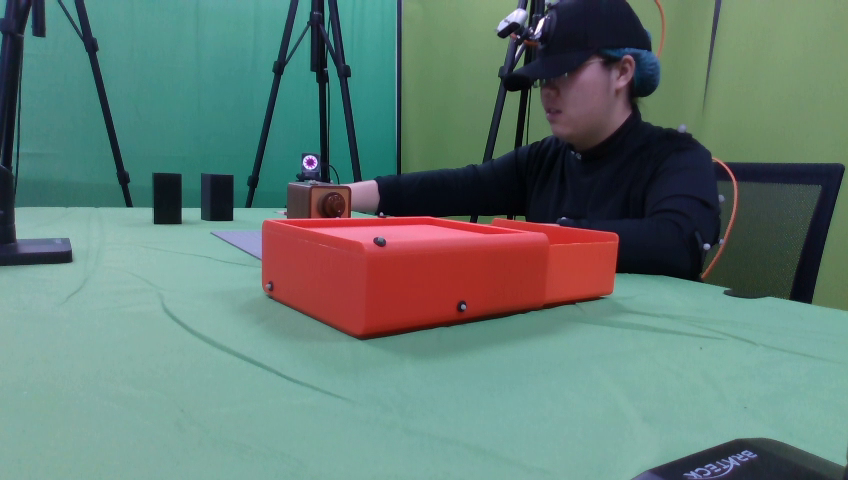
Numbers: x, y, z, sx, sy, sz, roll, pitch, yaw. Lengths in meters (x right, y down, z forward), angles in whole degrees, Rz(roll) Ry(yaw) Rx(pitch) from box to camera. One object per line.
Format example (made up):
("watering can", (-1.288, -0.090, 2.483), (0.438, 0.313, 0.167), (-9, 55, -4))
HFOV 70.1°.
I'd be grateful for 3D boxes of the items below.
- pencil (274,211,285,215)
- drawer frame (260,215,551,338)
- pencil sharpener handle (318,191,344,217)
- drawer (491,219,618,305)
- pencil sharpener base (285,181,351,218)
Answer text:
("pencil", (-0.193, -0.042, 1.167), (0.195, 0.012, 0.012), (7, 4, -26))
("drawer frame", (-0.021, 0.023, 0.595), (0.215, 0.082, 0.200), (-4, 10, -38))
("pencil sharpener handle", (-0.107, -0.026, 0.748), (0.036, 0.067, 0.030), (-6, 11, -36))
("drawer", (0.071, 0.021, 0.670), (0.213, 0.073, 0.193), (-3, 10, -39))
("pencil sharpener base", (-0.139, -0.021, 0.789), (0.062, 0.107, 0.076), (-2, 9, -36))
